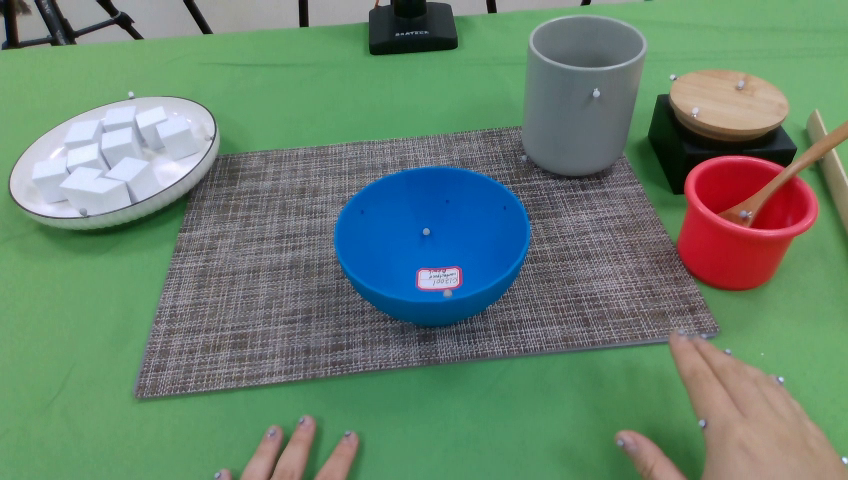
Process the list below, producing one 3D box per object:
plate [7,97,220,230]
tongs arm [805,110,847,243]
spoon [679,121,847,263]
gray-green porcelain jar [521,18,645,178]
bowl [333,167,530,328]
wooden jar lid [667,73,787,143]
[{"bbox_3d":[-0.316,-0.079,0.635,0.209,0.038,0.207,-2,45,3],"label":"plate"},{"bbox_3d":[0.383,0.006,0.514,0.028,0.028,0.384,6,46,7],"label":"tongs arm"},{"bbox_3d":[0.291,-0.047,0.490,0.022,0.194,0.041,29,26,-33],"label":"spoon"},{"bbox_3d":[0.150,-0.133,0.593,0.106,0.128,0.105,-2,45,2],"label":"gray-green porcelain jar"},{"bbox_3d":[0.007,0.018,0.485,0.151,0.077,0.150,-2,45,2],"label":"bowl"},{"bbox_3d":[0.291,-0.128,0.589,0.108,0.021,0.107,-2,45,3],"label":"wooden jar lid"}]
